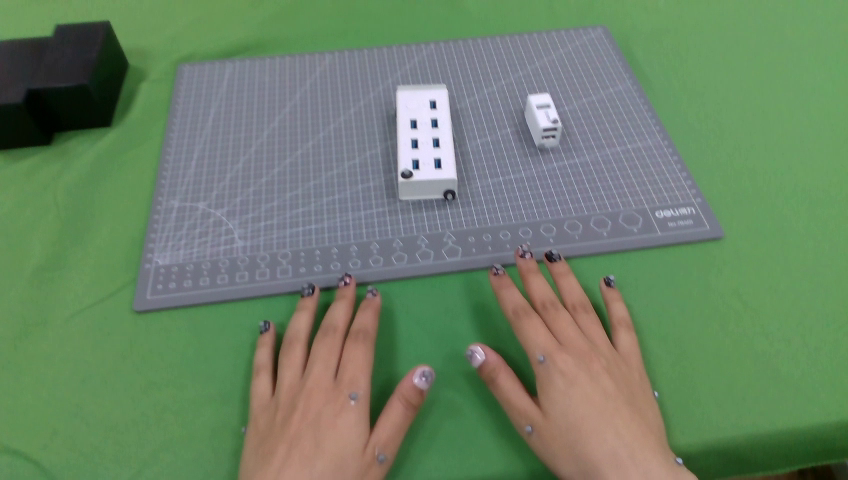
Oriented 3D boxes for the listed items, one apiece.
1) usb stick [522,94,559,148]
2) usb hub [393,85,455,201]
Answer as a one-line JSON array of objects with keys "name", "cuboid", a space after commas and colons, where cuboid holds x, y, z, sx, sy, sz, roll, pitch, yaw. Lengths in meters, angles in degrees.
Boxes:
[{"name": "usb stick", "cuboid": [0.103, -0.112, 0.546, 0.021, 0.027, 0.058, -7, 50, -4]}, {"name": "usb hub", "cuboid": [-0.002, -0.088, 0.529, 0.049, 0.025, 0.124, -3, 52, -1]}]
